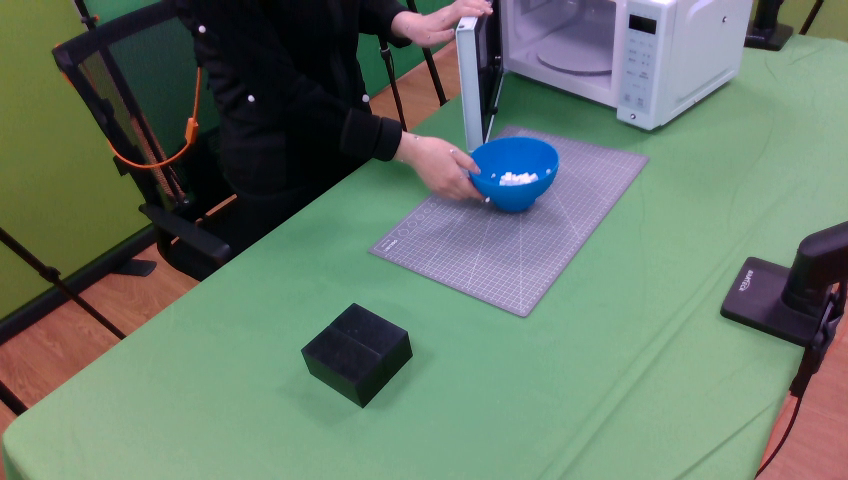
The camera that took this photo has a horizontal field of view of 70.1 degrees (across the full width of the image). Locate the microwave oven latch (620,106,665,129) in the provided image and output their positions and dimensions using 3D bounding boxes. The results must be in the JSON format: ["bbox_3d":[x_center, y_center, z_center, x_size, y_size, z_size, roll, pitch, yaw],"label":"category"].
[{"bbox_3d":[0.412,-0.236,1.146,0.030,0.029,0.078,-32,44,-24],"label":"microwave oven latch"}]

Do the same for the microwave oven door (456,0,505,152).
[{"bbox_3d":[0.119,-0.373,1.206,0.039,0.245,0.355,2,41,14],"label":"microwave oven door"}]

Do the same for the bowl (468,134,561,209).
[{"bbox_3d":[0.151,-0.104,1.003,0.151,0.077,0.150,-6,39,5],"label":"bowl"}]

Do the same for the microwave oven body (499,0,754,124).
[{"bbox_3d":[0.402,-0.458,1.259,0.327,0.261,0.437,-33,45,-24],"label":"microwave oven body"}]
